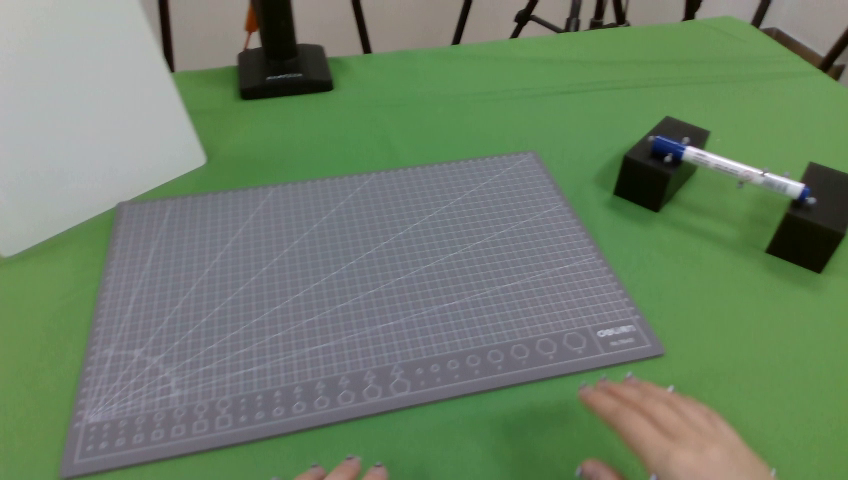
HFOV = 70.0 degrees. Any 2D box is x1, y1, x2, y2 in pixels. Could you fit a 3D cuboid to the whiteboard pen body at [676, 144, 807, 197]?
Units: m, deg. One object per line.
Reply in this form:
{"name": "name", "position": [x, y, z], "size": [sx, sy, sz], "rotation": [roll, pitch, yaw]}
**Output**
{"name": "whiteboard pen body", "position": [0.289, -0.071, 0.579], "size": [0.140, 0.017, 0.017], "rotation": [25, 48, 25]}

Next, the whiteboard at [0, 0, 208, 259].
{"name": "whiteboard", "position": [-0.395, -0.177, 0.589], "size": [0.217, 0.308, 0.142], "rotation": [-35, 34, -32]}

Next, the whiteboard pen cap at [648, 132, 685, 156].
{"name": "whiteboard pen cap", "position": [0.242, -0.095, 0.602], "size": [0.033, 0.018, 0.018], "rotation": [26, 48, 25]}
